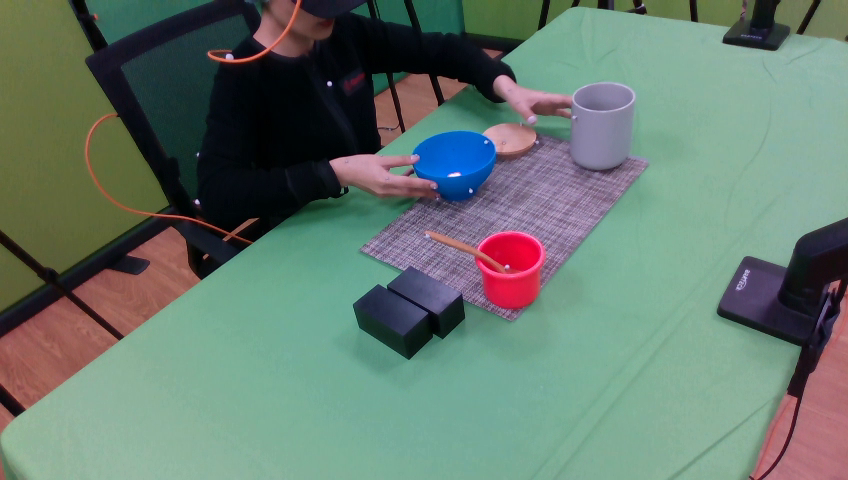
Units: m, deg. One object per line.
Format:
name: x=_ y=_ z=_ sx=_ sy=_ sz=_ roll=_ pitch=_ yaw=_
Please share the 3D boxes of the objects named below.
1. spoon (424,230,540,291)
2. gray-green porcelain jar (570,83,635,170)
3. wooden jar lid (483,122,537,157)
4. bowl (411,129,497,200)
spoon: x=0.083 y=0.026 z=0.836 sx=0.195 sy=0.021 sz=0.041 roll=29 pitch=31 yaw=-24
gray-green porcelain jar: x=0.313 y=-0.197 z=1.069 sx=0.106 sy=0.127 sz=0.105 roll=-5 pitch=40 yaw=5
wooden jar lid: x=0.165 y=-0.194 z=1.177 sx=0.108 sy=0.021 sz=0.108 roll=-5 pitch=40 yaw=4
bowl: x=0.056 y=-0.124 z=1.069 sx=0.151 sy=0.077 sz=0.150 roll=-5 pitch=40 yaw=5
